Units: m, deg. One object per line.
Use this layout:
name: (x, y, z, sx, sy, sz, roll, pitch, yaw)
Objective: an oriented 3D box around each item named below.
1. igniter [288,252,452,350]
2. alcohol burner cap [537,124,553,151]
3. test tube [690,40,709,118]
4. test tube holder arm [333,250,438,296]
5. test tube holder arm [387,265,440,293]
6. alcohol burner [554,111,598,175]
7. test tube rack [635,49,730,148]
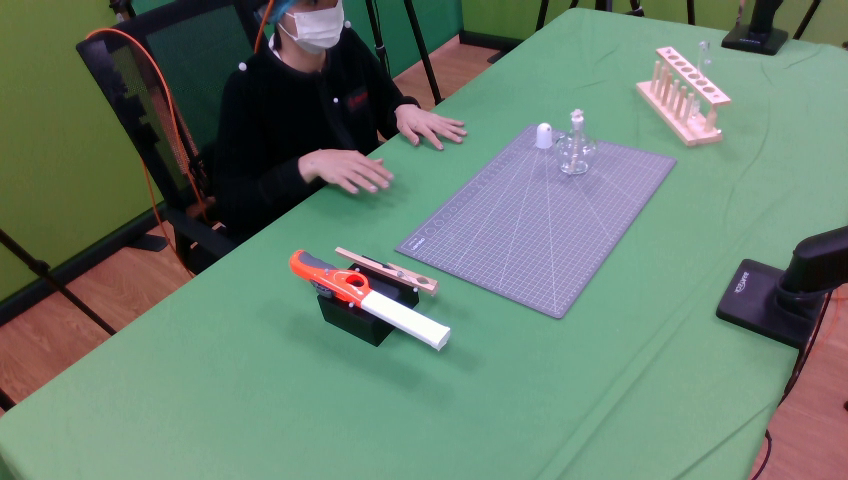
igniter: (-0.084, 0.077, 0.821, 0.274, 0.025, 0.057, 23, 48, 27)
alcohol burner cap: (0.232, -0.199, 1.158, 0.034, 0.048, 0.033, -5, 40, 5)
test tube: (0.510, -0.295, 1.120, 0.017, 0.151, 0.017, -6, 39, 6)
test tube holder arm: (-0.059, 0.045, 0.859, 0.177, 0.015, 0.013, 17, 49, 26)
test tube holder arm: (-0.017, 0.054, 0.843, 0.087, 0.015, 0.010, 18, 49, 27)
alcohol burner: (0.270, -0.175, 1.066, 0.078, 0.119, 0.077, -4, 42, 4)
test tube rack: (0.497, -0.283, 1.185, 0.067, 0.085, 0.240, -10, 40, -2)
